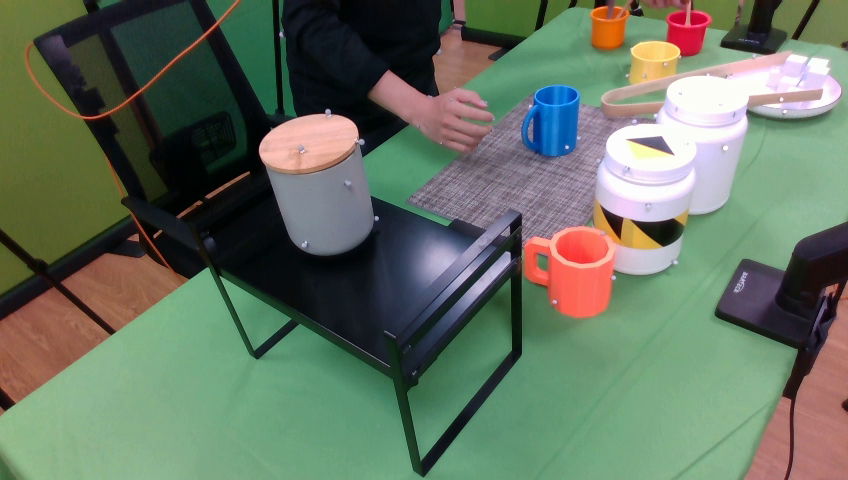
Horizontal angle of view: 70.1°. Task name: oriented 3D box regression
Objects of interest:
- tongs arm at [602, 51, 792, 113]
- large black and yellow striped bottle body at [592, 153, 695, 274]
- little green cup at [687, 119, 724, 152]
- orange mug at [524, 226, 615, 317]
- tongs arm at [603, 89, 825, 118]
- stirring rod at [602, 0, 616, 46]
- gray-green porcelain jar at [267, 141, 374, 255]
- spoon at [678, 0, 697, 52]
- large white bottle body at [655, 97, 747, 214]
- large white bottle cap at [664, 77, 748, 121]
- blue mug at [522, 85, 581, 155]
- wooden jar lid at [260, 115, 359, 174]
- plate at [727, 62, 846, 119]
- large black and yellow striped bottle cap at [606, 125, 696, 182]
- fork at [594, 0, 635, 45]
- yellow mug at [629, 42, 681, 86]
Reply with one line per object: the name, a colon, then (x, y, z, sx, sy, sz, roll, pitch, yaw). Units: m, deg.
tongs arm: (0.552, -0.320, 1.224, 0.384, 0.027, 0.050, -10, 43, 7)
large black and yellow striped bottle body: (0.313, -0.056, 0.872, 0.131, 0.185, 0.130, -4, 41, 4)
little green cup: (0.514, -0.191, 1.109, 0.061, 0.039, 0.061, -5, 40, 5)
orange mug: (0.201, 0.039, 0.845, 0.125, 0.101, 0.083, 18, 46, 21)
tongs arm: (0.546, -0.262, 1.163, 0.386, 0.028, 0.028, -1, 49, 18)
stirring rod: (0.453, -0.553, 1.464, 0.014, 0.006, 0.176, 11, 86, 14)
gray-green porcelain jar: (-0.117, -0.054, 0.703, 0.106, 0.127, 0.105, -4, 40, 4)
spoon: (0.614, -0.526, 1.402, 0.041, 0.022, 0.193, 3, 86, 11)
large white bottle body: (0.431, -0.148, 0.959, 0.130, 0.185, 0.130, -4, 41, 4)
large white bottle cap: (0.421, -0.212, 0.905, 0.115, 0.018, 0.114, -4, 40, 4)
blue mug: (0.233, -0.218, 1.127, 0.117, 0.106, 0.081, -23, 43, -16)
wooden jar lid: (-0.123, -0.101, 0.662, 0.108, 0.021, 0.108, -4, 41, 4)
plate: (0.709, -0.292, 1.197, 0.207, 0.039, 0.206, -4, 40, 4)
large black and yellow striped bottle cap: (0.305, -0.119, 0.816, 0.115, 0.019, 0.114, -5, 41, 5)
fork: (0.485, -0.552, 1.447, 0.207, 0.019, 0.028, -51, 45, 17)
yellow mug: (0.495, -0.389, 1.321, 0.100, 0.064, 0.130, -14, 40, -6)
